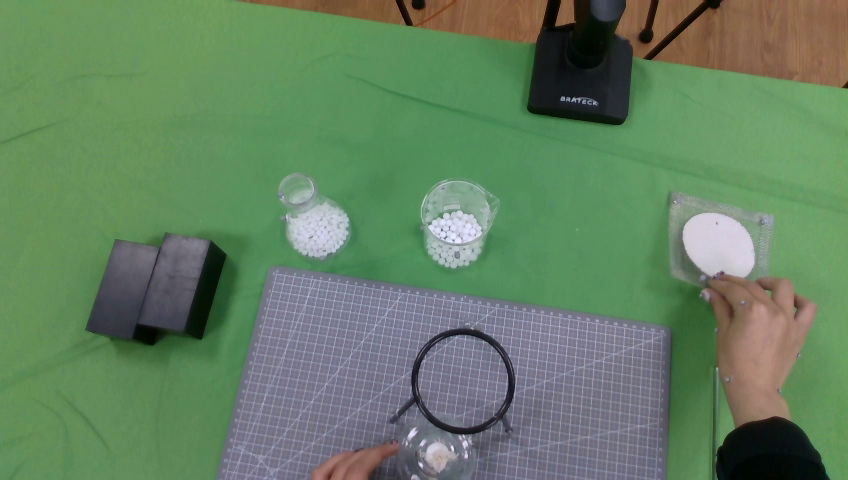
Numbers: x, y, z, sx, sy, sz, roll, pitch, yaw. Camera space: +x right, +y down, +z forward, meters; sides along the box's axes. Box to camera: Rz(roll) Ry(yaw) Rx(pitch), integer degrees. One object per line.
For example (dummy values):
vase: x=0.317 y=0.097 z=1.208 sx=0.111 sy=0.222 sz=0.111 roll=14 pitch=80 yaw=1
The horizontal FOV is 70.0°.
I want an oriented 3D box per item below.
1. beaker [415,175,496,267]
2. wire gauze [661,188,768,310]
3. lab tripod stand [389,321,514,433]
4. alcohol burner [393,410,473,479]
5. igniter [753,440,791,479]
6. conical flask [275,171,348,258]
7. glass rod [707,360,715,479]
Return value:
beaker: x=0.033 y=-0.016 z=0.650 sx=0.084 sy=0.101 sz=0.073 roll=-17 pitch=73 yaw=-6
wire gauze: x=0.329 y=0.005 z=0.684 sx=0.125 sy=0.011 sz=0.120 roll=17 pitch=64 yaw=0
lab tripod stand: x=0.030 y=0.140 z=0.579 sx=0.148 sy=0.132 sz=0.147 roll=0 pitch=74 yaw=1
alcohol burner: x=0.009 y=0.199 z=0.571 sx=0.078 sy=0.120 sz=0.077 roll=1 pitch=70 yaw=-1
igniter: x=0.347 y=0.334 z=0.576 sx=0.057 sy=0.025 sz=0.275 roll=6 pitch=72 yaw=-9
conical flask: x=-0.125 y=-0.032 z=0.643 sx=0.075 sy=0.122 sz=0.075 roll=0 pitch=72 yaw=0
glass rod: x=0.295 y=0.222 z=0.622 sx=0.008 sy=0.008 sz=0.198 roll=8 pitch=73 yaw=3
